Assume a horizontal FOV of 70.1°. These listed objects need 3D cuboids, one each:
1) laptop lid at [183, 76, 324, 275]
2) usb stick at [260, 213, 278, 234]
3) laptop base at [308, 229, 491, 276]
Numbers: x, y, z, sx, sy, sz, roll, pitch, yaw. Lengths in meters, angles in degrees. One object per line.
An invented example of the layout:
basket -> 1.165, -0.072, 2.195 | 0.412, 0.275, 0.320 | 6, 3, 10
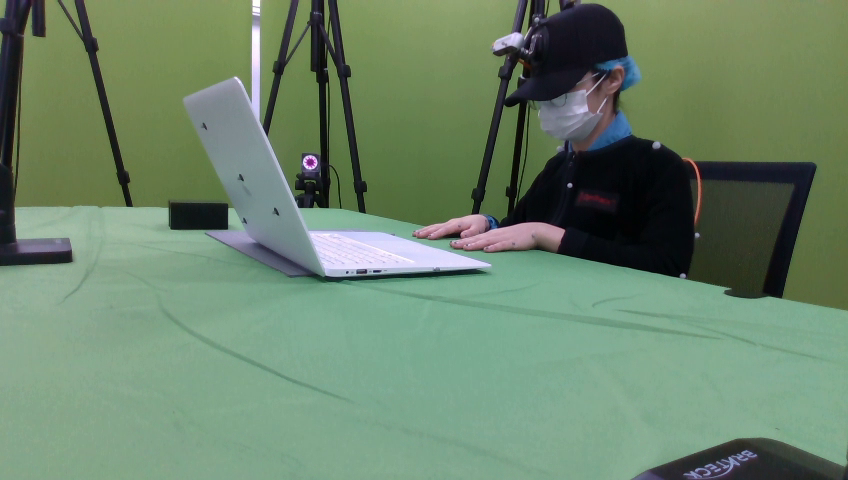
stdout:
laptop lid -> -0.237, -0.085, 0.791 | 0.013, 0.242, 0.355 | -30, 23, -23
usb stick -> -0.260, -0.025, 1.017 | 0.021, 0.027, 0.059 | 1, 19, -27
laptop base -> -0.094, 0.015, 0.888 | 0.237, 0.023, 0.352 | 2, 7, -30
